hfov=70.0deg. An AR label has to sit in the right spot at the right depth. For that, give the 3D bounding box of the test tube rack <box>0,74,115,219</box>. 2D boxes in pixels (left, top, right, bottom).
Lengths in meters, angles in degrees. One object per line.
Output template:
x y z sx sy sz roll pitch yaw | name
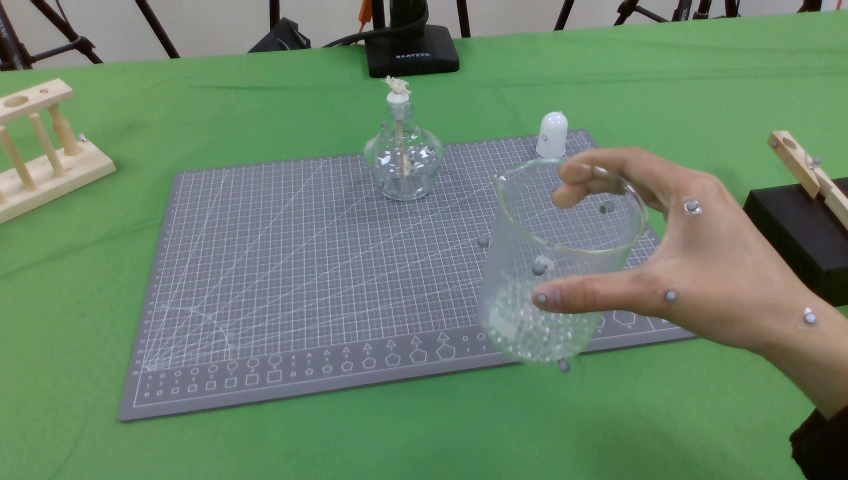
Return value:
-0.434 -0.063 0.566 0.066 0.086 0.242 33 53 31 | test tube rack

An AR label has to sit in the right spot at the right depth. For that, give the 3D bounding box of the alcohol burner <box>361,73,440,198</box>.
-0.023 -0.101 0.575 0.078 0.120 0.077 -2 42 2 | alcohol burner

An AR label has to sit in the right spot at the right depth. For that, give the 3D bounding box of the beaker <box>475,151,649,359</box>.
0.066 0.011 0.335 0.083 0.101 0.074 28 49 20 | beaker

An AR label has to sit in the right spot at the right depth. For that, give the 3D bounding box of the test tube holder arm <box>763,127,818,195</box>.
0.331 -0.072 0.544 0.010 0.015 0.087 -10 43 2 | test tube holder arm

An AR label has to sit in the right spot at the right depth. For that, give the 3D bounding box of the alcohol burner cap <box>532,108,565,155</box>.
0.133 -0.118 0.643 0.034 0.048 0.033 0 43 1 | alcohol burner cap

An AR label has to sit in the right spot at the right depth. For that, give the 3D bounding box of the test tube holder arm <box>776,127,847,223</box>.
0.341 -0.042 0.511 0.013 0.015 0.176 -10 43 2 | test tube holder arm
